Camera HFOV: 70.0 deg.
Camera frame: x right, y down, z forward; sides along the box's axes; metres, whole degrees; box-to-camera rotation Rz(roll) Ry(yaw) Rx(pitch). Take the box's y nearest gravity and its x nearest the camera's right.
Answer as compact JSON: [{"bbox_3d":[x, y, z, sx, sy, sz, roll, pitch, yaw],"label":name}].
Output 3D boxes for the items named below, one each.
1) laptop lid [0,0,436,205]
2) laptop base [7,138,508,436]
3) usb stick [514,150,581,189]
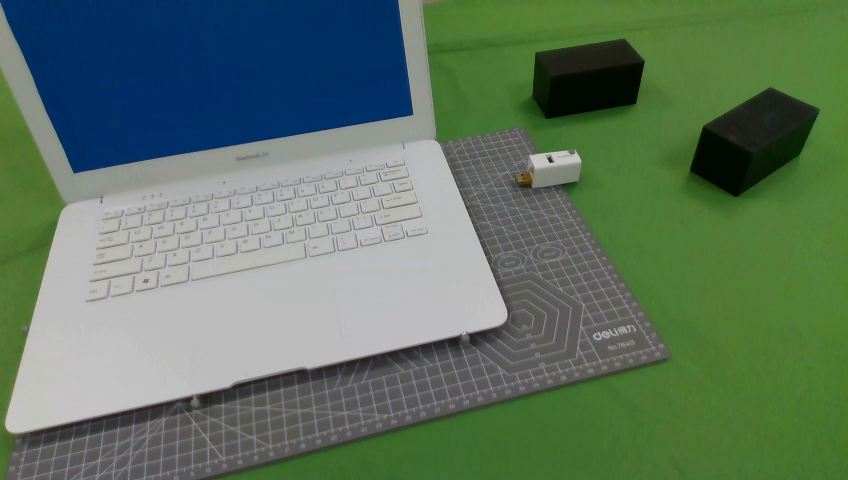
[{"bbox_3d":[-0.171,-0.162,0.523,0.357,0.244,0.013,-13,31,-6],"label":"laptop lid"},{"bbox_3d":[-0.132,0.019,0.502,0.355,0.023,0.233,-11,49,-7],"label":"laptop base"},{"bbox_3d":[0.113,-0.064,0.558,0.059,0.027,0.021,-10,45,-2],"label":"usb stick"}]
